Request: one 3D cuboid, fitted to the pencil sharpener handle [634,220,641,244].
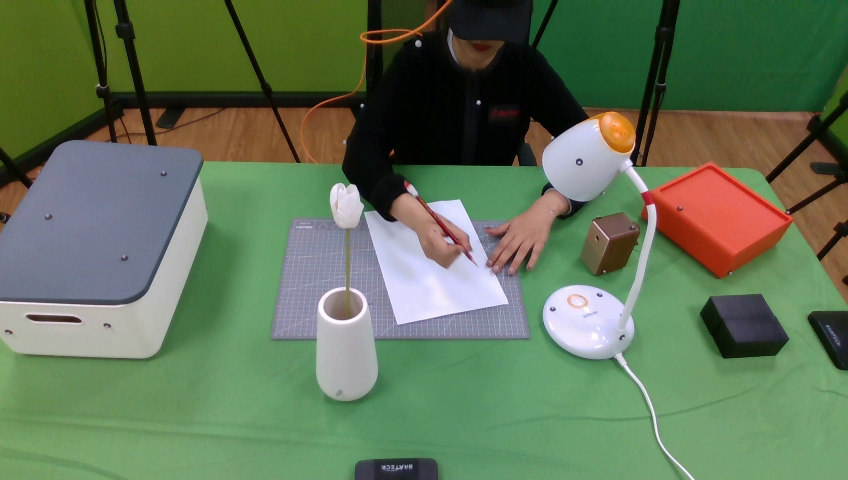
[{"bbox_3d":[0.405,-0.015,1.162,0.031,0.068,0.035,-15,45,-18],"label":"pencil sharpener handle"}]

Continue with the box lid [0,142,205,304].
[{"bbox_3d":[-0.534,-0.044,0.995,0.263,0.015,0.369,3,45,-3],"label":"box lid"}]

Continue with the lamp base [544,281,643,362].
[{"bbox_3d":[0.303,0.095,1.014,0.161,0.181,0.178,-24,54,-24],"label":"lamp base"}]

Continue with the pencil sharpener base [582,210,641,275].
[{"bbox_3d":[0.357,0.005,1.156,0.077,0.107,0.061,-15,48,-18],"label":"pencil sharpener base"}]

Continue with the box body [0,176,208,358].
[{"bbox_3d":[-0.546,0.017,1.045,0.254,0.161,0.361,2,46,-2],"label":"box body"}]

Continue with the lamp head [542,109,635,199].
[{"bbox_3d":[0.253,-0.131,0.893,0.113,0.123,0.112,10,66,-24],"label":"lamp head"}]

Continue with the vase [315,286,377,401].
[{"bbox_3d":[-0.119,0.159,0.911,0.098,0.201,0.097,2,47,-2],"label":"vase"}]

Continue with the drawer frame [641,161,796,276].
[{"bbox_3d":[0.599,-0.051,1.244,0.202,0.083,0.212,-24,52,-25],"label":"drawer frame"}]

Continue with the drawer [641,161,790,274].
[{"bbox_3d":[0.596,-0.051,1.246,0.194,0.073,0.210,-23,53,-25],"label":"drawer"}]

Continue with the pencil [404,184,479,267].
[{"bbox_3d":[0.032,-0.025,1.064,0.194,0.012,0.012,48,55,-1],"label":"pencil"}]

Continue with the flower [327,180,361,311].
[{"bbox_3d":[-0.110,0.086,0.867,0.044,0.363,0.038,22,33,36],"label":"flower"}]

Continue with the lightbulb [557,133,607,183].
[{"bbox_3d":[0.243,-0.127,0.917,0.059,0.108,0.059,6,67,-13],"label":"lightbulb"}]
